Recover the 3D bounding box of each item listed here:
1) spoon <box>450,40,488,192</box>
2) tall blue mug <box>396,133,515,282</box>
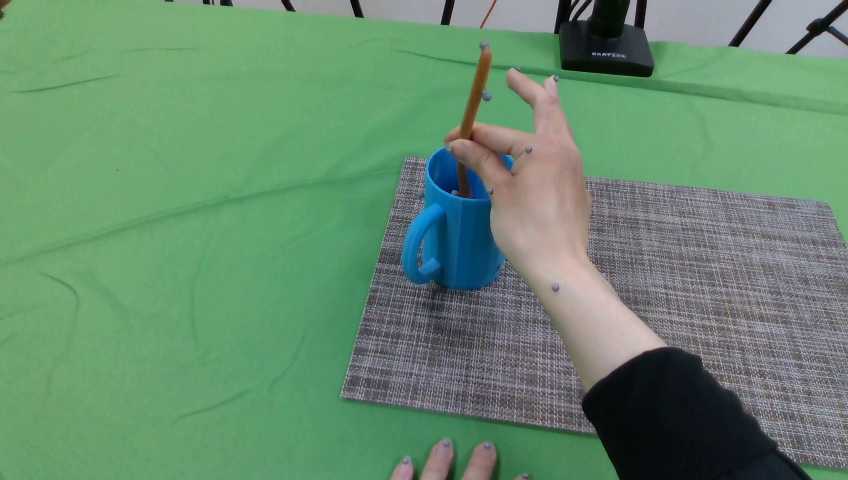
[{"bbox_3d":[0.028,-0.070,0.462,0.021,0.195,0.041,5,56,1],"label":"spoon"},{"bbox_3d":[0.028,-0.015,0.515,0.077,0.109,0.106,14,48,9],"label":"tall blue mug"}]
